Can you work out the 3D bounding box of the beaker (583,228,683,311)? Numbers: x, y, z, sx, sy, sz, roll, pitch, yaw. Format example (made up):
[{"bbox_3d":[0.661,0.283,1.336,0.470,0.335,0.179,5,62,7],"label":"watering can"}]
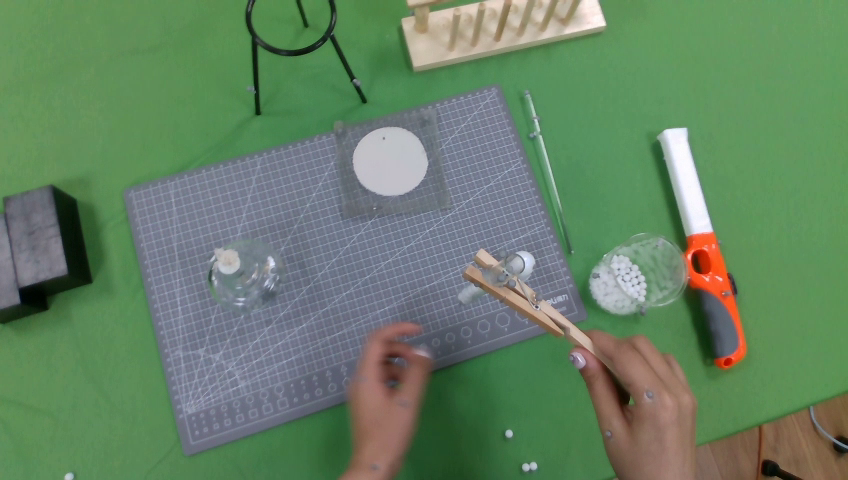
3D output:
[{"bbox_3d":[0.212,0.035,0.640,0.084,0.100,0.073,14,76,2],"label":"beaker"}]

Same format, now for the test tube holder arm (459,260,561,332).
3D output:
[{"bbox_3d":[0.066,0.043,0.457,0.088,0.015,0.010,31,78,0],"label":"test tube holder arm"}]

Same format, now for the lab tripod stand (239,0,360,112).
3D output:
[{"bbox_3d":[-0.143,-0.207,0.659,0.148,0.132,0.147,1,79,-3],"label":"lab tripod stand"}]

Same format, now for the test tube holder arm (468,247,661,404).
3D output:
[{"bbox_3d":[0.106,0.064,0.457,0.178,0.015,0.013,37,78,1],"label":"test tube holder arm"}]

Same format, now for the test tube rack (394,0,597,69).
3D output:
[{"bbox_3d":[0.090,-0.276,0.710,0.242,0.085,0.066,-14,78,-6],"label":"test tube rack"}]

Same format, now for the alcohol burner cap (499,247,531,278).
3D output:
[{"bbox_3d":[0.101,0.023,0.663,0.034,0.048,0.033,1,77,-2],"label":"alcohol burner cap"}]

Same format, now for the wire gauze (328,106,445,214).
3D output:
[{"bbox_3d":[-0.044,-0.092,0.699,0.125,0.011,0.121,-6,79,-5],"label":"wire gauze"}]

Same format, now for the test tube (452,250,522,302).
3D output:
[{"bbox_3d":[0.046,0.032,0.478,0.017,0.150,0.017,3,76,-10],"label":"test tube"}]

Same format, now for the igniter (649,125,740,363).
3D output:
[{"bbox_3d":[0.307,-0.001,0.689,0.057,0.025,0.275,-7,78,-15],"label":"igniter"}]

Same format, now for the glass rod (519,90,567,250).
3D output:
[{"bbox_3d":[0.138,-0.083,0.708,0.008,0.008,0.199,-12,80,-6],"label":"glass rod"}]

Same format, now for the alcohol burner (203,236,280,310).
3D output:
[{"bbox_3d":[-0.188,0.030,0.610,0.078,0.119,0.077,0,77,0],"label":"alcohol burner"}]
